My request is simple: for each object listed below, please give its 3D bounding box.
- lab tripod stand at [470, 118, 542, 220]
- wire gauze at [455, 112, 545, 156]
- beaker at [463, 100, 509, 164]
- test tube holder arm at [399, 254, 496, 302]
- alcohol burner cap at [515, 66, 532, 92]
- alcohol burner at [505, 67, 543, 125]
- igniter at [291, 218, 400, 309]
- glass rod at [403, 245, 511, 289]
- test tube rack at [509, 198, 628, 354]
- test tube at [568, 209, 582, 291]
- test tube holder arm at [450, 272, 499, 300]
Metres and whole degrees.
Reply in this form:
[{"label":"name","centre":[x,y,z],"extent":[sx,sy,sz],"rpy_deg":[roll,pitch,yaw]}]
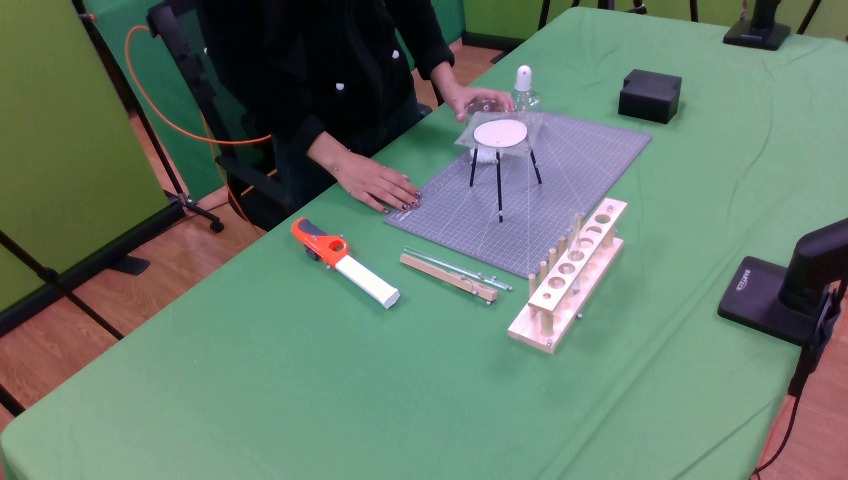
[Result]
[{"label":"lab tripod stand","centre":[0.135,-0.128,1.019],"extent":[0.148,0.132,0.147],"rpy_deg":[-5,38,5]},{"label":"wire gauze","centre":[0.124,-0.176,0.972],"extent":[0.124,0.011,0.121],"rpy_deg":[9,42,21]},{"label":"beaker","centre":[0.120,-0.200,1.134],"extent":[0.083,0.101,0.074],"rpy_deg":[5,43,16]},{"label":"test tube holder arm","centre":[0.032,0.054,0.914],"extent":[0.177,0.015,0.013],"rpy_deg":[21,16,32]},{"label":"alcohol burner cap","centre":[0.198,-0.320,1.192],"extent":[0.034,0.048,0.033],"rpy_deg":[0,48,1]},{"label":"alcohol burner","centre":[0.201,-0.293,1.216],"extent":[0.078,0.119,0.077],"rpy_deg":[-4,41,4]},{"label":"igniter","centre":[-0.136,0.031,0.970],"extent":[0.057,0.025,0.274],"rpy_deg":[-41,49,-19]},{"label":"glass rod","centre":[0.047,0.040,0.939],"extent":[0.198,0.008,0.008],"rpy_deg":[21,49,30]},{"label":"test tube rack","centre":[0.206,0.039,0.850],"extent":[0.066,0.085,0.243],"rpy_deg":[20,48,31]},{"label":"test tube","centre":[0.200,0.017,0.799],"extent":[0.017,0.151,0.017],"rpy_deg":[-8,45,8]},{"label":"test tube holder arm","centre":[0.071,0.068,0.895],"extent":[0.087,0.015,0.010],"rpy_deg":[21,16,32]}]
